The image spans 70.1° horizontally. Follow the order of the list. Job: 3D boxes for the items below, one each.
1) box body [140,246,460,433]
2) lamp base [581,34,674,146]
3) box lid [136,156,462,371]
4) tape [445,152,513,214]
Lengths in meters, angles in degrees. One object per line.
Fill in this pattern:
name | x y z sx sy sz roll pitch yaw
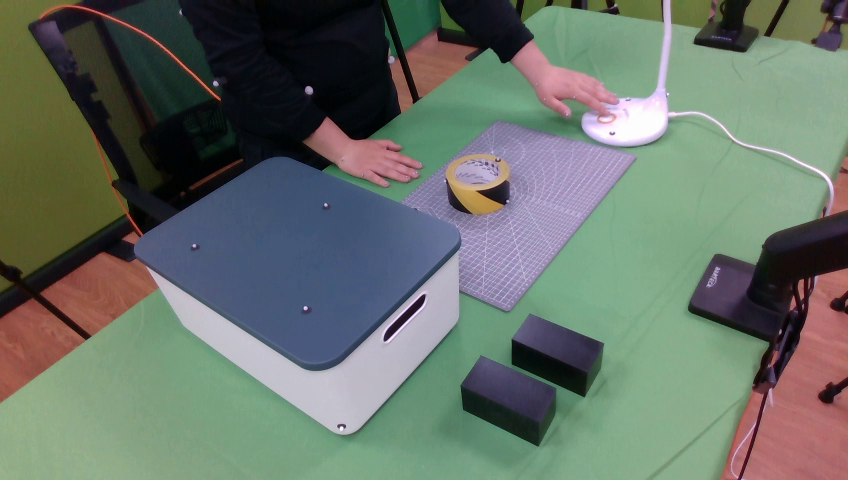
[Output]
box body | -0.156 0.059 0.815 0.361 0.161 0.255 24 49 31
lamp base | 0.393 -0.291 1.129 0.180 0.181 0.159 -11 41 -8
box lid | -0.162 0.004 0.765 0.368 0.015 0.264 23 49 31
tape | 0.095 -0.099 1.042 0.117 0.053 0.116 -4 41 4
